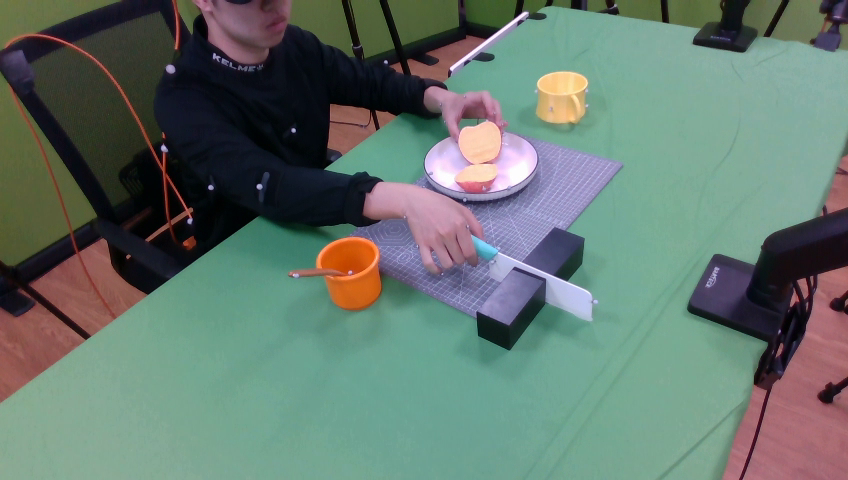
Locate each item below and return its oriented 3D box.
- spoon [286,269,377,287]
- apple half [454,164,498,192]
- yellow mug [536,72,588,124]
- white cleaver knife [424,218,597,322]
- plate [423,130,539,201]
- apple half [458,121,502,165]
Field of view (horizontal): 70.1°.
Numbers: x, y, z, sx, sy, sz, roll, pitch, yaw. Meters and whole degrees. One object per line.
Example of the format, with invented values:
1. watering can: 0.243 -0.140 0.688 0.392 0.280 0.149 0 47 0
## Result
1. spoon: -0.125 0.049 0.831 0.041 0.195 0.021 22 93 28
2. apple half: 0.095 -0.103 1.052 0.081 0.033 0.081 -9 28 5
3. yellow mug: 0.285 -0.281 1.222 0.100 0.064 0.130 -16 42 -9
4. white cleaver knife: 0.113 0.042 0.865 0.284 0.066 0.021 27 47 28
5. plate: 0.103 -0.132 1.092 0.209 0.038 0.208 -4 40 4
6. apple half: 0.105 -0.173 1.103 0.080 0.053 0.074 -17 82 9
